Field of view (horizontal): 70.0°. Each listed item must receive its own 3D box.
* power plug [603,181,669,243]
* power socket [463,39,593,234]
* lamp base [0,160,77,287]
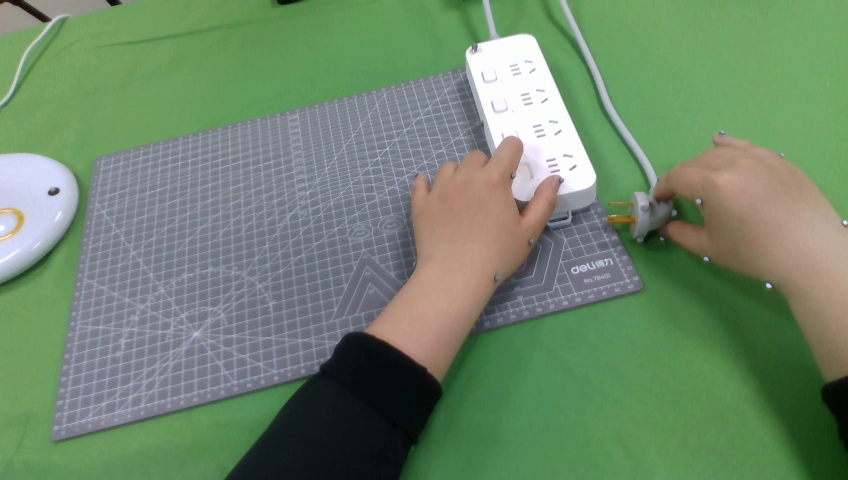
[{"bbox_3d":[0.167,-0.023,0.486,0.052,0.035,0.072,2,19,7],"label":"power plug"},{"bbox_3d":[0.088,-0.104,0.545,0.072,0.033,0.224,-12,53,0],"label":"power socket"},{"bbox_3d":[-0.428,-0.062,0.511,0.178,0.182,0.160,17,58,24],"label":"lamp base"}]
